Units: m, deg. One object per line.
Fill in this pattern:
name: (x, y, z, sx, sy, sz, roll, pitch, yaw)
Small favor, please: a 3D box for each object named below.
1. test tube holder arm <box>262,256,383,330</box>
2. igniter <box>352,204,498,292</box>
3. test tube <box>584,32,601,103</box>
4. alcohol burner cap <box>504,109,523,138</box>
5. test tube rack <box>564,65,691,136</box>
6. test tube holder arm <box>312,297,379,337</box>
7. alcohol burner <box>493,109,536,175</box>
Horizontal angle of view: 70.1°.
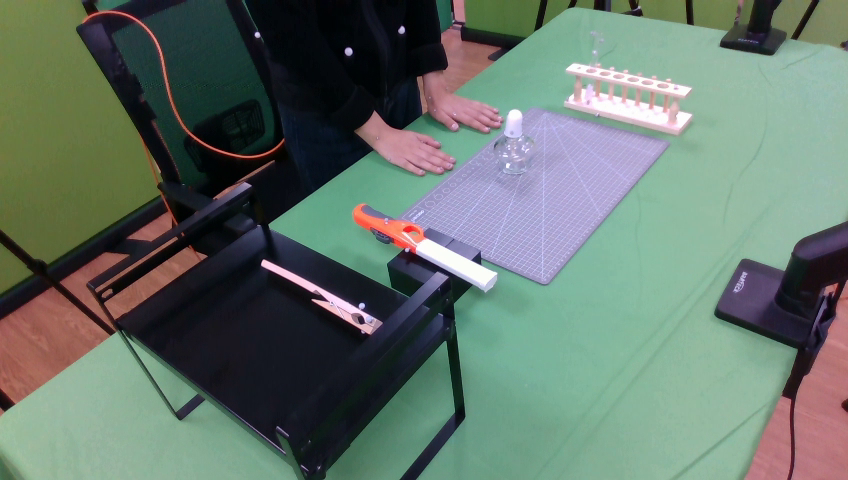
test tube holder arm: (-0.113, 0.054, 0.647, 0.177, 0.015, 0.013, 26, 81, 33)
igniter: (-0.009, 0.005, 0.895, 0.274, 0.025, 0.057, 27, 48, 32)
test tube: (0.333, -0.338, 1.199, 0.017, 0.151, 0.017, -3, 45, 3)
alcohol burner cap: (0.159, -0.206, 1.063, 0.034, 0.048, 0.033, 0, 42, 1)
test tube rack: (0.404, -0.288, 1.204, 0.240, 0.085, 0.067, 24, 49, 32)
test tube holder arm: (-0.082, 0.075, 0.622, 0.087, 0.015, 0.010, 27, 81, 33)
alcohol burner: (0.162, -0.179, 1.087, 0.078, 0.119, 0.077, -5, 38, 5)
